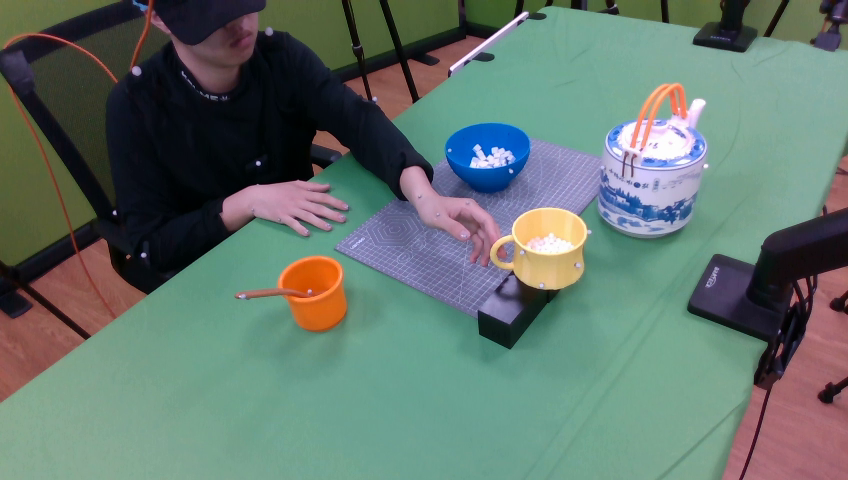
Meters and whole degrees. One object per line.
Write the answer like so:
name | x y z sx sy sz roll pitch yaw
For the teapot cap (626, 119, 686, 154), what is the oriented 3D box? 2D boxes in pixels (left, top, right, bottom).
teapot cap | 0.338 -0.153 0.882 0.085 0.044 0.085 -3 38 3

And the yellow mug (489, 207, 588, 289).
yellow mug | 0.154 0.013 0.821 0.131 0.064 0.099 -8 40 0

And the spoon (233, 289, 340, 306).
spoon | -0.181 0.075 0.811 0.041 0.195 0.021 17 91 31

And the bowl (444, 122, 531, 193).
bowl | 0.113 -0.136 1.063 0.151 0.077 0.150 -4 41 4

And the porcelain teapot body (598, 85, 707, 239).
porcelain teapot body | 0.362 -0.137 0.921 0.144 0.226 0.206 29 51 36
